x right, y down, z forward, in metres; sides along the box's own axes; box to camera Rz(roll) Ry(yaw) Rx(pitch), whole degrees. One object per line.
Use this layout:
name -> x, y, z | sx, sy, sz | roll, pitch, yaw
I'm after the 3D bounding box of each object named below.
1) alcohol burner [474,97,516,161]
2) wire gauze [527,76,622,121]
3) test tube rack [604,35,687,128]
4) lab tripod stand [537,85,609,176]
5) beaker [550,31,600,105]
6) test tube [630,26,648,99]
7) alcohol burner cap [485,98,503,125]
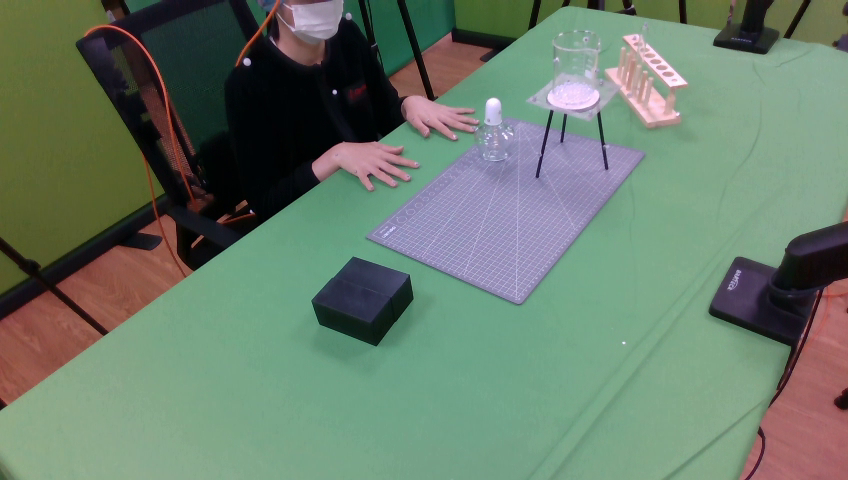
alcohol burner -> 0.131, -0.208, 1.121 | 0.078, 0.119, 0.077 | -6, 40, 5
wire gauze -> 0.255, -0.247, 1.030 | 0.124, 0.011, 0.122 | 23, 49, 34
test tube rack -> 0.447, -0.330, 1.242 | 0.067, 0.085, 0.241 | -9, 41, -2
lab tripod stand -> 0.259, -0.192, 1.068 | 0.148, 0.132, 0.147 | -4, 43, 4
beaker -> 0.250, -0.281, 0.996 | 0.074, 0.101, 0.083 | -37, 49, -27
test tube -> 0.426, -0.350, 1.199 | 0.017, 0.151, 0.017 | -4, 42, 4
alcohol burner cap -> 0.126, -0.234, 1.097 | 0.034, 0.048, 0.033 | -3, 39, 3
